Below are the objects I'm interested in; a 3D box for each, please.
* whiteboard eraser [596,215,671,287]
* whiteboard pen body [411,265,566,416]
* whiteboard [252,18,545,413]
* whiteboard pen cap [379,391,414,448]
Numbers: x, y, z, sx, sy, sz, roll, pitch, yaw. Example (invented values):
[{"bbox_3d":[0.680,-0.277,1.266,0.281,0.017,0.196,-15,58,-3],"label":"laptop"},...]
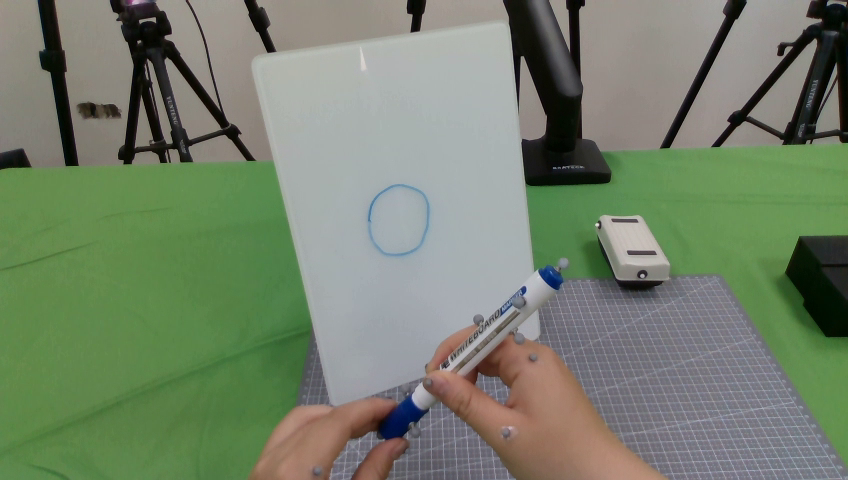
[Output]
[{"bbox_3d":[0.235,0.012,0.689,0.055,0.042,0.111,-2,32,3],"label":"whiteboard eraser"},{"bbox_3d":[0.028,0.065,0.351,0.017,0.141,0.017,36,22,-17],"label":"whiteboard pen body"},{"bbox_3d":[-0.026,-0.032,0.582,0.218,0.307,0.142,-15,18,-17],"label":"whiteboard"},{"bbox_3d":[-0.016,0.110,0.369,0.018,0.018,0.033,10,70,16],"label":"whiteboard pen cap"}]
